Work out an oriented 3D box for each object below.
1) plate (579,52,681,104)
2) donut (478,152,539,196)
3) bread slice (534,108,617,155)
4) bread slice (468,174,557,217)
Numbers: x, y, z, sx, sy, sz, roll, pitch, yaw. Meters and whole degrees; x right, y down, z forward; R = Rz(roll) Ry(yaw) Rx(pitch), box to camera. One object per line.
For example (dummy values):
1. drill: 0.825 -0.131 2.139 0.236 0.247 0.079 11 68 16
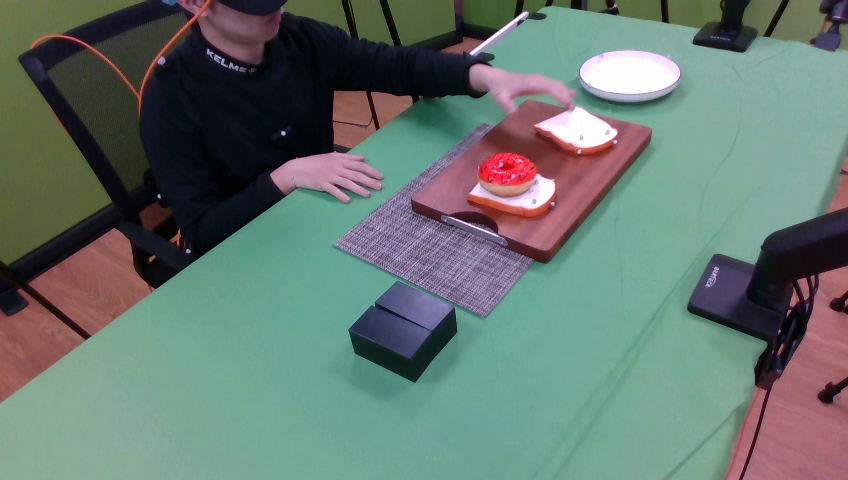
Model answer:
1. plate: 0.437 -0.343 1.294 0.209 0.038 0.208 -4 40 4
2. donut: 0.138 -0.109 0.991 0.099 0.048 0.098 -3 38 3
3. bread slice: 0.289 -0.200 1.121 0.107 0.018 0.133 -27 43 -21
4. bread slice: 0.154 -0.083 1.004 0.130 0.019 0.105 19 48 29
